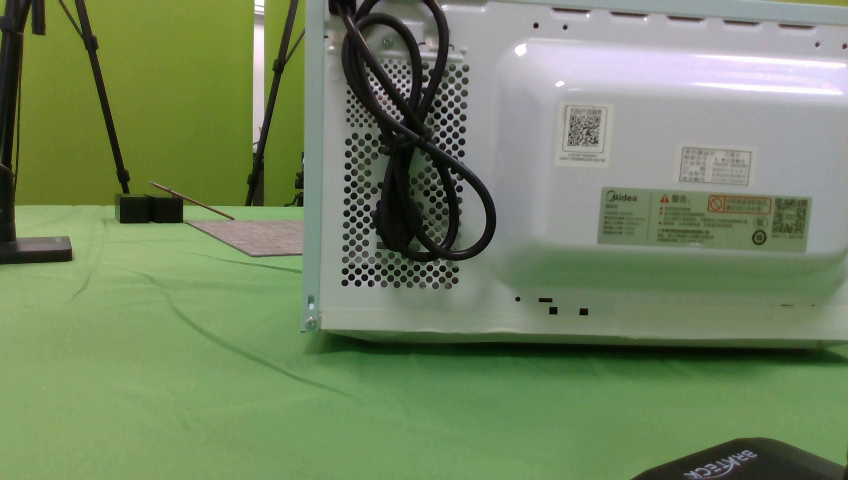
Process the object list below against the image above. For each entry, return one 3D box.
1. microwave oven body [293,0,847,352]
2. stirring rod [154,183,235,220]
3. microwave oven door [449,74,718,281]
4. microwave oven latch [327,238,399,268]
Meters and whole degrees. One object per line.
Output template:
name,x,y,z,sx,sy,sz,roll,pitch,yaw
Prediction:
microwave oven body,0.122,-0.055,0.550,0.442,0.260,0.325,3,7,-5
stirring rod,-0.472,-0.079,1.252,0.177,0.006,0.014,27,4,-35
microwave oven door,0.191,-0.090,0.813,0.354,0.243,0.039,8,10,36
microwave oven latch,-0.069,0.015,0.694,0.079,0.029,0.030,3,7,-3
